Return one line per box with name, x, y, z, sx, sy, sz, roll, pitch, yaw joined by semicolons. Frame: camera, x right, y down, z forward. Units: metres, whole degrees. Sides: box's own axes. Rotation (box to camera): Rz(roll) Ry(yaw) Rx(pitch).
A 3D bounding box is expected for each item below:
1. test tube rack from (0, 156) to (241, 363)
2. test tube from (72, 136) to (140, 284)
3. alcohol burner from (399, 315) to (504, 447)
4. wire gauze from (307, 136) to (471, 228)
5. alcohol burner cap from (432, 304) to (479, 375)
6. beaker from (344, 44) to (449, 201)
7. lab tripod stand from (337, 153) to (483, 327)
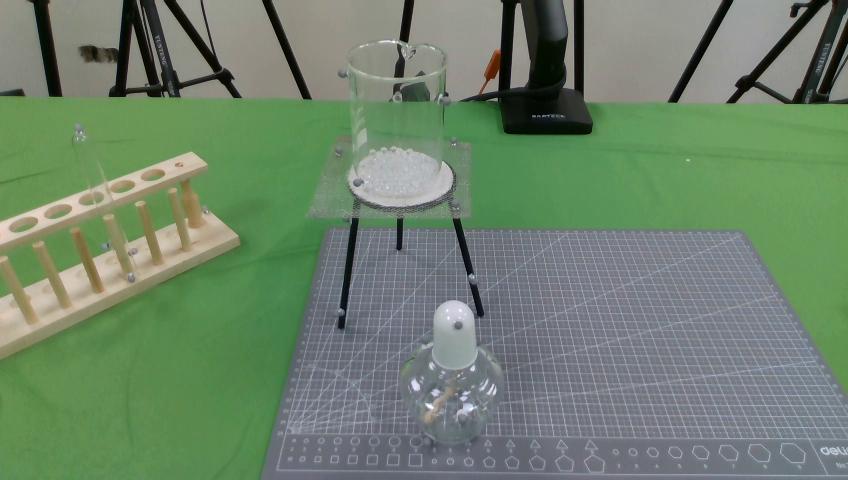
test tube rack;-0.302;0.012;0.561;0.242;0.086;0.066;-30;47;-33
test tube;-0.277;-0.022;0.532;0.017;0.151;0.017;1;37;0
alcohol burner;0.020;0.093;0.431;0.078;0.120;0.077;1;40;0
wire gauze;-0.023;-0.049;0.488;0.121;0.011;0.124;2;40;2
alcohol burner cap;0.021;0.064;0.409;0.034;0.048;0.033;-2;38;2
beaker;-0.020;-0.088;0.460;0.074;0.101;0.083;8;38;7
lab tripod stand;-0.014;0.002;0.531;0.148;0.132;0.147;1;37;-1
